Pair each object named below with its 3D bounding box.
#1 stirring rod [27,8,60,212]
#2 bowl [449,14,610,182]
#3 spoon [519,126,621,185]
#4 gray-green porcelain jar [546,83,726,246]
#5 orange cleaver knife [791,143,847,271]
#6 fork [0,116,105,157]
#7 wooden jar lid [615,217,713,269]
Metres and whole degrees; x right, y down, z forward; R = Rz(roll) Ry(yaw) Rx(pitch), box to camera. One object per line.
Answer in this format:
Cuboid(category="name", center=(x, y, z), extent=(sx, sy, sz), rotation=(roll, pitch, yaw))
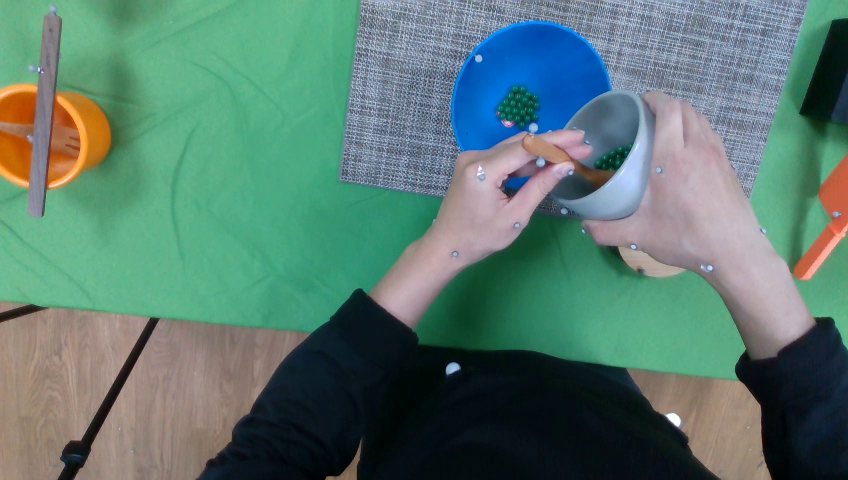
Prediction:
Cuboid(category="stirring rod", center=(-0.327, -0.108, 0.520), extent=(0.014, 0.006, 0.176), rotation=(11, 105, -11))
Cuboid(category="bowl", center=(0.094, -0.136, 0.586), extent=(0.151, 0.076, 0.152), rotation=(-1, 106, -5))
Cuboid(category="spoon", center=(0.125, -0.065, 0.495), extent=(0.195, 0.021, 0.042), rotation=(10, 124, -49))
Cuboid(category="gray-green porcelain jar", center=(0.188, -0.060, 0.529), extent=(0.127, 0.105, 0.106), rotation=(25, 103, -26))
Cuboid(category="orange cleaver knife", center=(0.450, -0.054, 0.645), extent=(0.012, 0.076, 0.213), rotation=(3, 135, -9))
Cuboid(category="fork", center=(-0.380, -0.108, 0.517), extent=(0.028, 0.018, 0.209), rotation=(-52, 148, 17))
Cuboid(category="wooden jar lid", center=(0.261, -0.021, 0.666), extent=(0.108, 0.020, 0.109), rotation=(-1, 112, -3))
